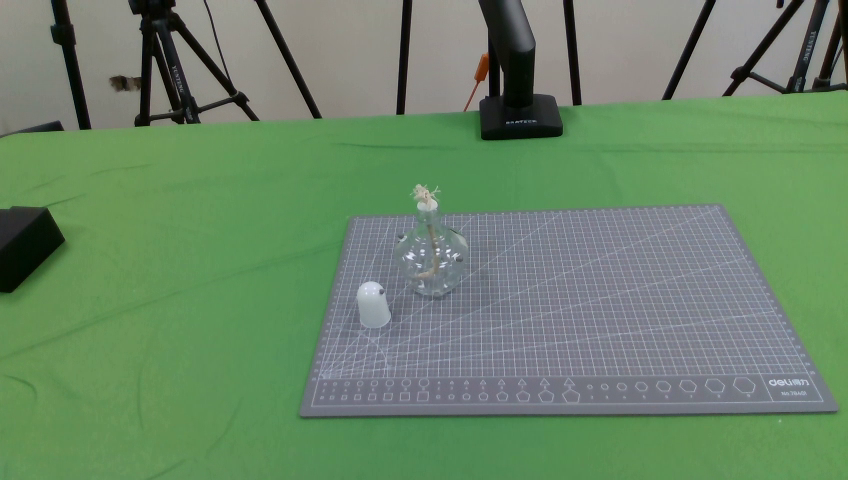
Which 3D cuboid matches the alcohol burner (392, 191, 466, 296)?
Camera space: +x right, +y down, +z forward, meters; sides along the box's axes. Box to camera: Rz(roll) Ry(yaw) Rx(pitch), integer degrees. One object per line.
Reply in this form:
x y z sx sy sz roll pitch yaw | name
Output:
0.005 -0.001 0.618 0.078 0.120 0.077 -2 39 2 | alcohol burner

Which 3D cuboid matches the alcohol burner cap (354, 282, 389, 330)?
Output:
-0.053 0.063 0.602 0.034 0.048 0.033 -3 39 3 | alcohol burner cap
